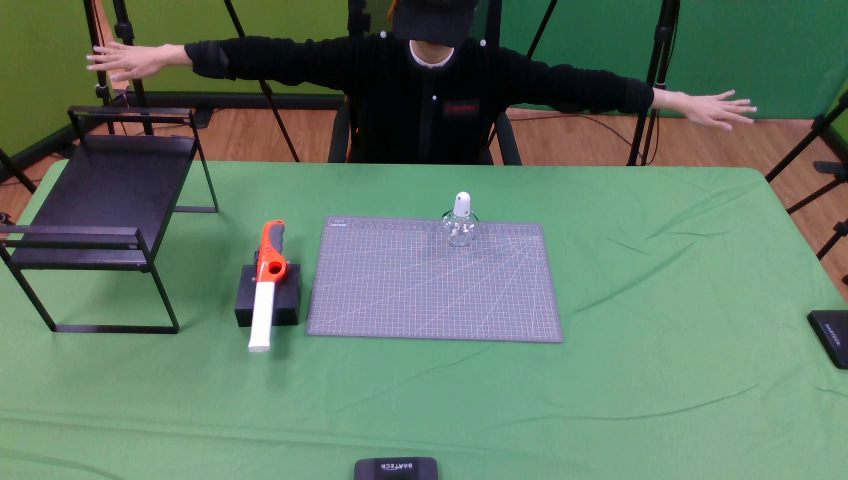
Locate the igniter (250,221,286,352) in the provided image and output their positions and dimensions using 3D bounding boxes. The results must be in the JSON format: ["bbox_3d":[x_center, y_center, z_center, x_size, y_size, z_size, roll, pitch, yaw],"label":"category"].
[{"bbox_3d":[-0.269,0.068,1.042,0.057,0.025,0.274,0,48,-7],"label":"igniter"}]

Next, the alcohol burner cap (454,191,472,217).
[{"bbox_3d":[0.076,-0.071,1.150,0.034,0.048,0.033,2,42,-1],"label":"alcohol burner cap"}]

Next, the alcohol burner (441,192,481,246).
[{"bbox_3d":[0.073,-0.046,1.176,0.078,0.119,0.077,2,44,-2],"label":"alcohol burner"}]
